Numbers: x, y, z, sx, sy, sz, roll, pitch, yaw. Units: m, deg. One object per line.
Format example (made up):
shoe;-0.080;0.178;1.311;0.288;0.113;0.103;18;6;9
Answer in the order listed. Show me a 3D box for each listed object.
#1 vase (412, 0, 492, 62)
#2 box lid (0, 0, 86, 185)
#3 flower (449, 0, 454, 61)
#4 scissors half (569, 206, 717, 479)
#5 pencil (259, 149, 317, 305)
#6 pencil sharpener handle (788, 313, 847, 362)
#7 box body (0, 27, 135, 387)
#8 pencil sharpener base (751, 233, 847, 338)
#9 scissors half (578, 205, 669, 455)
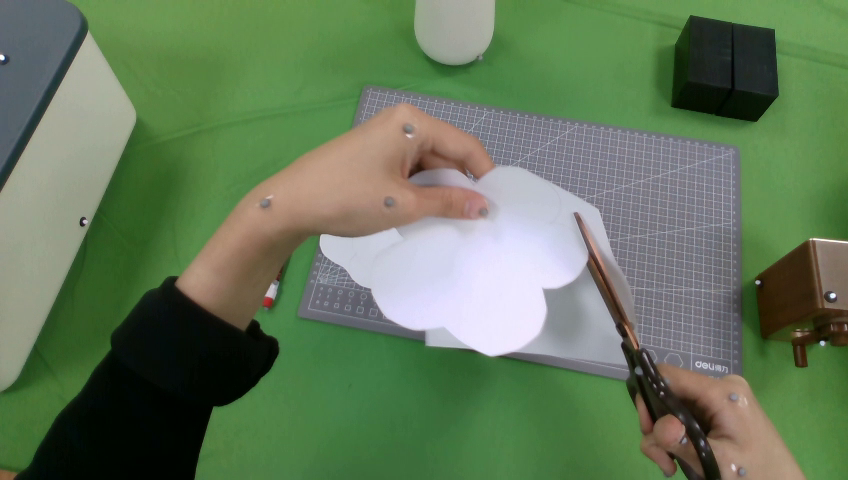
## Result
vase;0.033;-0.296;0.678;0.098;0.201;0.097;0;65;1
box lid;-0.479;-0.087;0.518;0.263;0.015;0.369;11;67;3
flower;0.029;-0.342;0.607;0.044;0.365;0.038;3;49;5
scissors half;0.121;0.059;0.339;0.013;0.040;0.175;-25;86;-7
pencil;-0.144;-0.020;0.661;0.012;0.012;0.193;11;65;5
pencil sharpener handle;0.364;0.091;0.553;0.036;0.068;0.030;11;66;-11
box body;-0.479;-0.054;0.586;0.254;0.161;0.361;10;67;4
pencil sharpener base;0.373;0.050;0.585;0.061;0.108;0.076;6;67;2
scissors half;0.118;0.057;0.361;0.013;0.039;0.176;-24;112;-2
